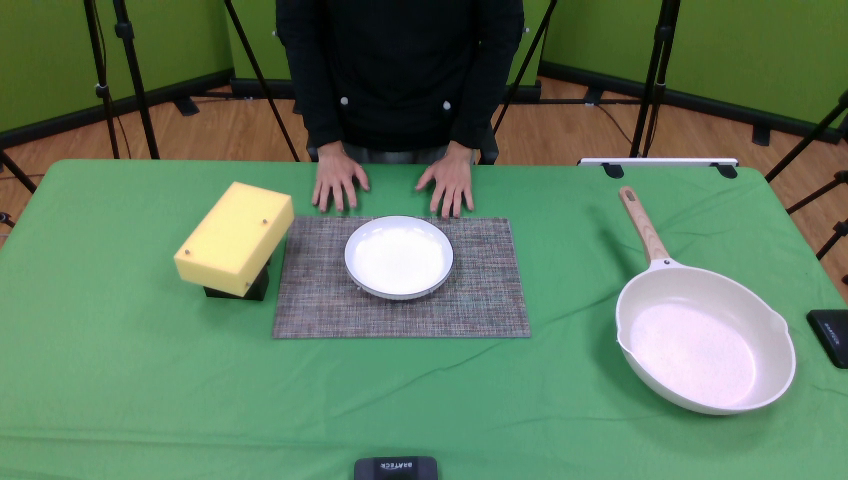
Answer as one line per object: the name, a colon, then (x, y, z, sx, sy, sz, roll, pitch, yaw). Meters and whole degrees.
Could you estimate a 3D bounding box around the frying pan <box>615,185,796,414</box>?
frying pan: (0.449, 0.087, 1.092, 0.307, 0.103, 0.484, -4, 55, -10)

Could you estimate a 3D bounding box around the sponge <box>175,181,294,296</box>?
sponge: (-0.333, -0.007, 1.086, 0.118, 0.061, 0.206, 13, 47, 9)

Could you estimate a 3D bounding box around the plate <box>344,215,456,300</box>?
plate: (-0.045, 0.035, 1.146, 0.208, 0.039, 0.206, 2, 46, -2)
